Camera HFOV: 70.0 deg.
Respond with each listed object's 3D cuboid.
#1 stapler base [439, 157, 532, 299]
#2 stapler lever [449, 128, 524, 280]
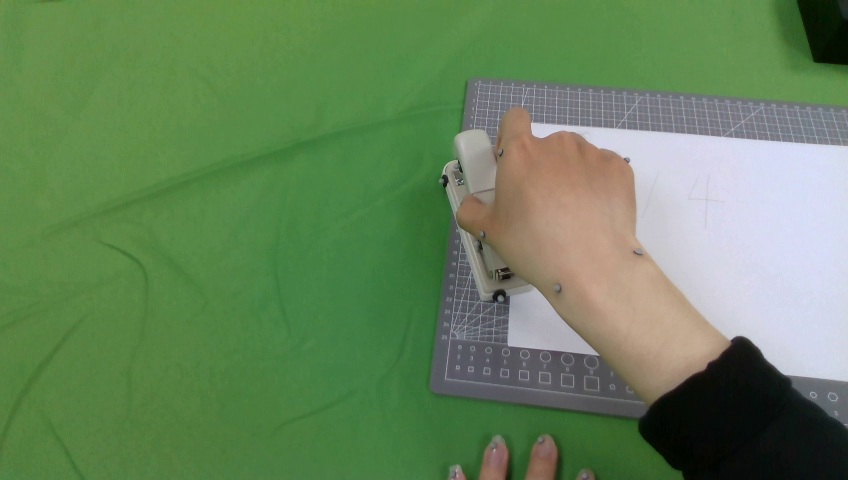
[{"bbox_3d":[0.044,-0.019,0.463,0.041,0.024,0.129,-14,62,-4],"label":"stapler base"},{"bbox_3d":[0.044,-0.030,0.441,0.027,0.040,0.117,-14,61,-4],"label":"stapler lever"}]
